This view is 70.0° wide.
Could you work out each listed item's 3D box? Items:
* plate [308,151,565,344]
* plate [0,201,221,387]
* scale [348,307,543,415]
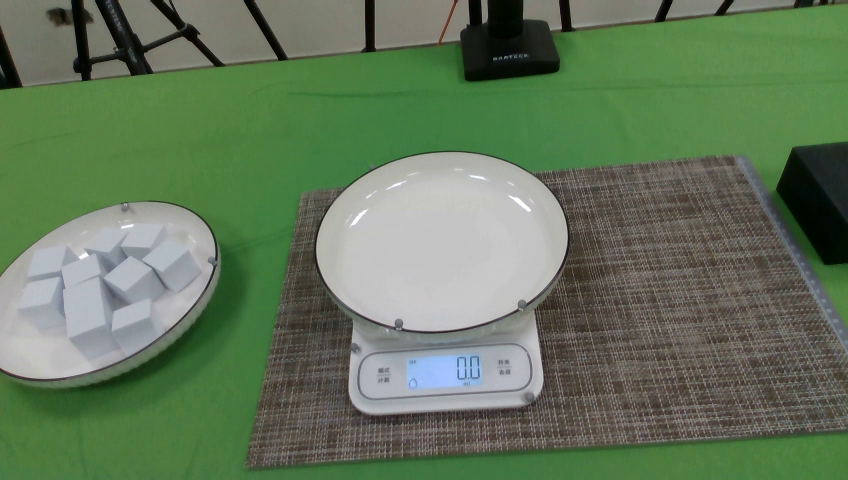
[{"bbox_3d":[0.010,0.004,0.505,0.207,0.039,0.205,-3,46,3],"label":"plate"},{"bbox_3d":[-0.285,0.047,0.550,0.209,0.038,0.207,-3,45,4],"label":"plate"},{"bbox_3d":[0.015,0.048,0.508,0.148,0.032,0.199,-4,46,4],"label":"scale"}]
